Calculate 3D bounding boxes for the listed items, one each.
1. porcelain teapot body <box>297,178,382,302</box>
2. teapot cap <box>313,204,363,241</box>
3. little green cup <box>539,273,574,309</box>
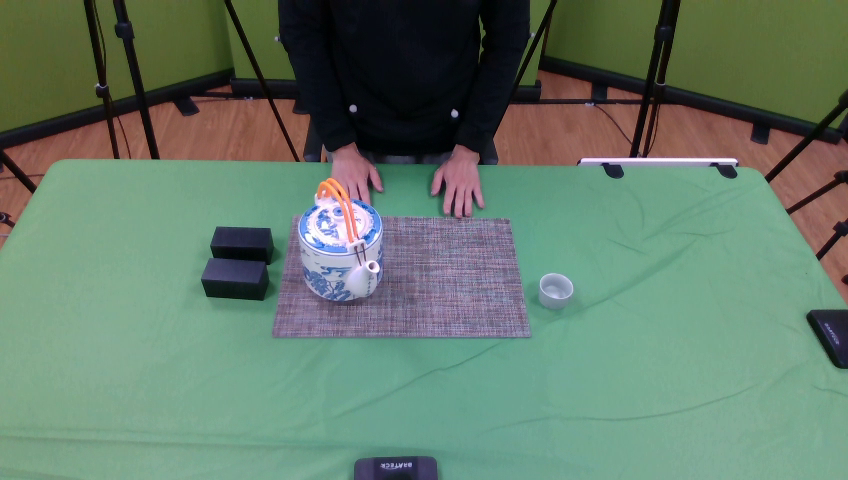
[{"bbox_3d":[-0.129,0.012,1.032,0.145,0.226,0.204,-24,53,-25],"label":"porcelain teapot body"},{"bbox_3d":[-0.144,-0.034,1.020,0.085,0.044,0.084,2,49,-2],"label":"teapot cap"},{"bbox_3d":[0.240,0.096,1.113,0.061,0.039,0.061,2,47,-2],"label":"little green cup"}]
